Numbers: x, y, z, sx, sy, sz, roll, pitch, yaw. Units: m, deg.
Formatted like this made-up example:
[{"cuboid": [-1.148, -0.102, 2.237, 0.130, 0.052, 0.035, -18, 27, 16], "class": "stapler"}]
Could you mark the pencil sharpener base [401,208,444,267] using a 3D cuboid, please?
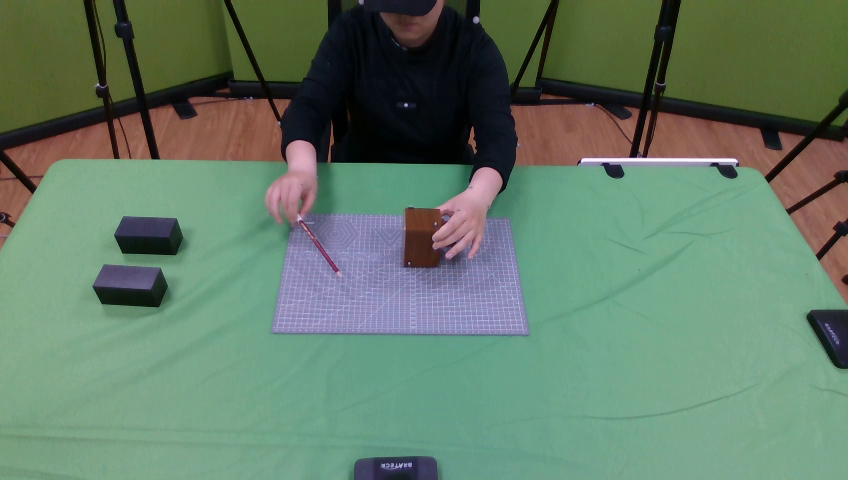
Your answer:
[{"cuboid": [-0.004, -0.003, 1.137, 0.077, 0.107, 0.061, 1, 45, -4], "class": "pencil sharpener base"}]

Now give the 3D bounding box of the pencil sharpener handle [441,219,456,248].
[{"cuboid": [0.048, -0.011, 1.132, 0.031, 0.068, 0.036, 1, 46, -4], "class": "pencil sharpener handle"}]

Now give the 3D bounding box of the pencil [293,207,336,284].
[{"cuboid": [-0.204, 0.009, 1.123, 0.012, 0.012, 0.193, -20, 57, -22], "class": "pencil"}]
